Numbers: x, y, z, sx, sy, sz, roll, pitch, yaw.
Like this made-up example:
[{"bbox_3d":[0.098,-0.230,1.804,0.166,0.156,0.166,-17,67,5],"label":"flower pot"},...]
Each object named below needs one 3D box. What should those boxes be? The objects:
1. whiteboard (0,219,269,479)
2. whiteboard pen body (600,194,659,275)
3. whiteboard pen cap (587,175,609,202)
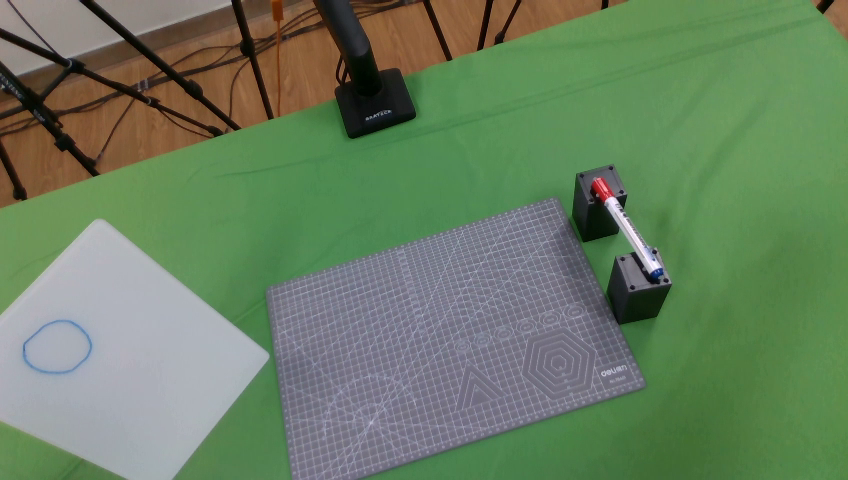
[{"bbox_3d":[-0.384,0.133,0.740,0.142,0.309,0.216,20,65,41],"label":"whiteboard"},{"bbox_3d":[0.241,-0.017,0.731,0.017,0.017,0.139,-22,61,-3],"label":"whiteboard pen body"},{"bbox_3d":[0.219,-0.065,0.761,0.017,0.017,0.032,-22,61,-2],"label":"whiteboard pen cap"}]
